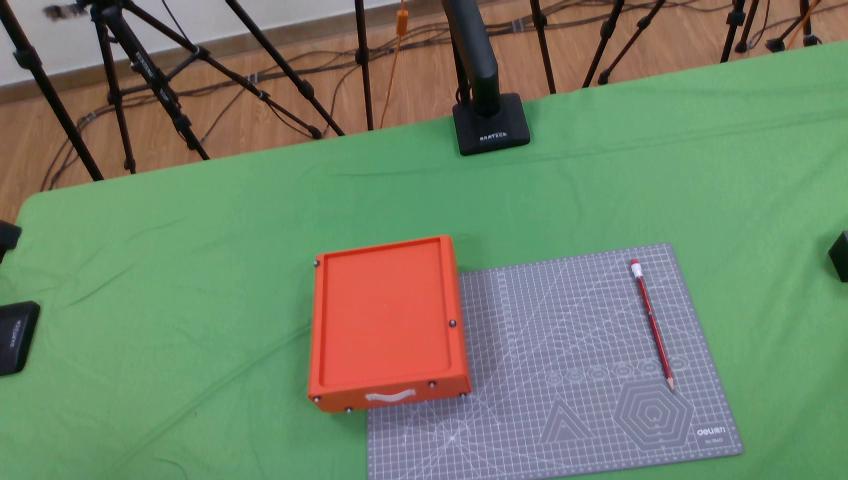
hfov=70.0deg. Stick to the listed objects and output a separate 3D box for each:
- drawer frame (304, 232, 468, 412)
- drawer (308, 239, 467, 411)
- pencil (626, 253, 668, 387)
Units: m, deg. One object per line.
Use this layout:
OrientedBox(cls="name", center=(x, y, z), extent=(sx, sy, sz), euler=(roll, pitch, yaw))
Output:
OrientedBox(cls="drawer frame", center=(-0.053, 0.110, 0.822), extent=(0.201, 0.083, 0.211), euler=(-10, 56, 6))
OrientedBox(cls="drawer", center=(-0.051, 0.113, 0.822), extent=(0.194, 0.074, 0.209), euler=(-9, 55, 6))
OrientedBox(cls="pencil", center=(0.297, 0.102, 0.806), extent=(0.012, 0.012, 0.192), euler=(-8, 59, 5))
